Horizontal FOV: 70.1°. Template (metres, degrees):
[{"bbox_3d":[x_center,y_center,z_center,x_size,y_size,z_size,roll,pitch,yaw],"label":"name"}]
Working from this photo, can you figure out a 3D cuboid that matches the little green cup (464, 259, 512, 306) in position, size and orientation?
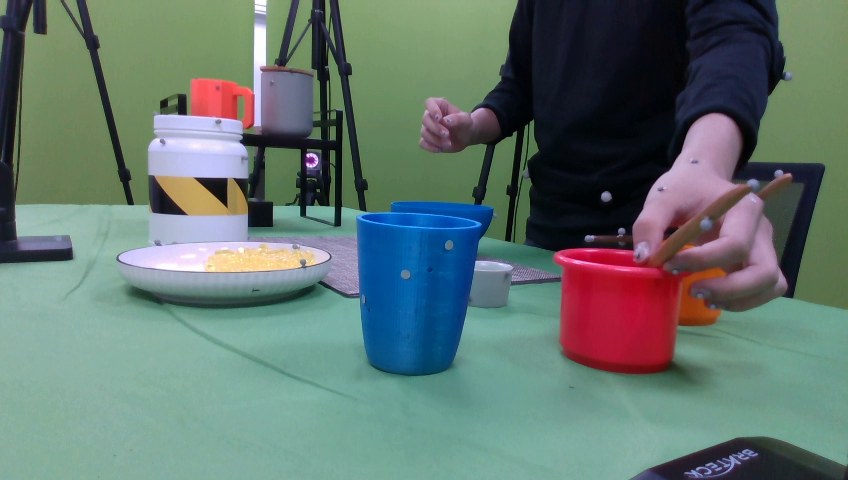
[{"bbox_3d":[0.057,0.043,0.612,0.061,0.038,0.061,3,7,0],"label":"little green cup"}]

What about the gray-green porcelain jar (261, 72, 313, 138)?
[{"bbox_3d":[-0.284,-0.277,1.253,0.106,0.126,0.106,2,8,0],"label":"gray-green porcelain jar"}]

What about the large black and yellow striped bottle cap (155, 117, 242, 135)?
[{"bbox_3d":[-0.313,-0.159,0.845,0.115,0.019,0.115,3,9,0],"label":"large black and yellow striped bottle cap"}]

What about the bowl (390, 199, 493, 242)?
[{"bbox_3d":[0.023,-0.016,0.874,0.151,0.077,0.151,2,8,0],"label":"bowl"}]

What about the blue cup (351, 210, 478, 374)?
[{"bbox_3d":[-0.009,0.034,0.414,0.093,0.100,0.092,4,8,0],"label":"blue cup"}]

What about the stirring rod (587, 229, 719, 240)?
[{"bbox_3d":[0.226,-0.006,0.587,0.177,0.006,0.014,-2,10,-29],"label":"stirring rod"}]

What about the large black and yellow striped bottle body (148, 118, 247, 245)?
[{"bbox_3d":[-0.318,-0.076,0.855,0.131,0.184,0.130,2,7,0],"label":"large black and yellow striped bottle body"}]

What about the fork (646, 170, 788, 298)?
[{"bbox_3d":[0.256,0.004,0.543,0.028,0.018,0.207,2,-37,-10],"label":"fork"}]

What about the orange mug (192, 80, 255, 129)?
[{"bbox_3d":[-0.389,-0.257,1.172,0.126,0.100,0.083,-1,6,9],"label":"orange mug"}]

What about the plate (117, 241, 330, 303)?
[{"bbox_3d":[-0.203,0.031,0.630,0.209,0.038,0.209,3,7,0],"label":"plate"}]

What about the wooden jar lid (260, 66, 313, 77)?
[{"bbox_3d":[-0.283,-0.339,1.244,0.108,0.020,0.108,5,8,-1],"label":"wooden jar lid"}]

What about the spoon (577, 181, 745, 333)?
[{"bbox_3d":[0.152,0.020,0.409,0.042,0.021,0.193,-7,-34,-17],"label":"spoon"}]
